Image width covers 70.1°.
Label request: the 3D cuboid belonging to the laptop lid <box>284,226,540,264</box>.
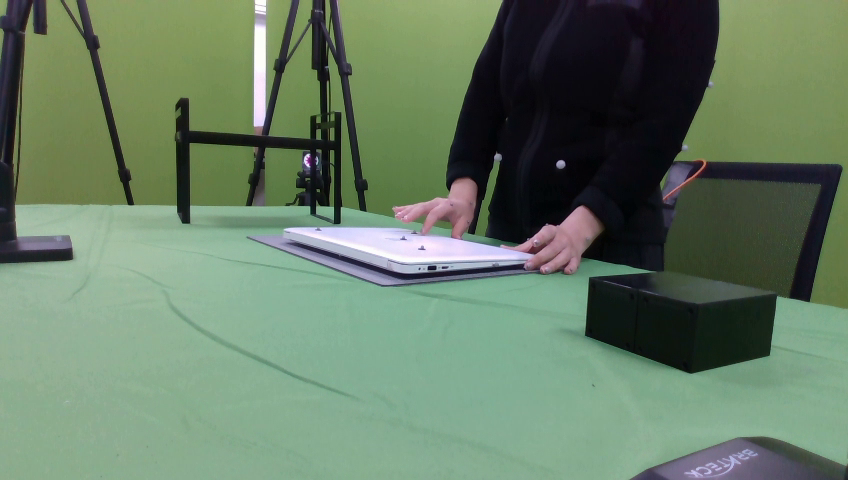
[{"bbox_3d":[-0.032,0.002,0.895,0.243,0.013,0.355,0,8,-35],"label":"laptop lid"}]

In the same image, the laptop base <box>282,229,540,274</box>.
[{"bbox_3d":[-0.034,0.014,0.895,0.237,0.023,0.352,1,7,-37],"label":"laptop base"}]
